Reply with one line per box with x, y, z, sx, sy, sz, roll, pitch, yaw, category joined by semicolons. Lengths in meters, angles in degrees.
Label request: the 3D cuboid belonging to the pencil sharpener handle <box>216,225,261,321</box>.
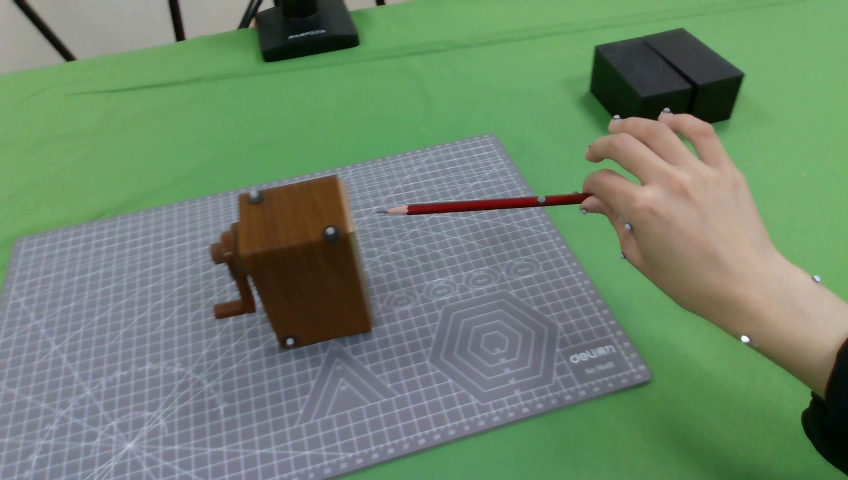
-0.128;0.025;0.402;0.031;0.068;0.035;-12;30;-6;pencil sharpener handle

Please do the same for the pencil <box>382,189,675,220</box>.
0.068;-0.022;0.404;0.194;0.012;0.012;-4;45;2;pencil

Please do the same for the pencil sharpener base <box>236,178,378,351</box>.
-0.079;0.020;0.420;0.077;0.108;0.060;-12;46;-6;pencil sharpener base
